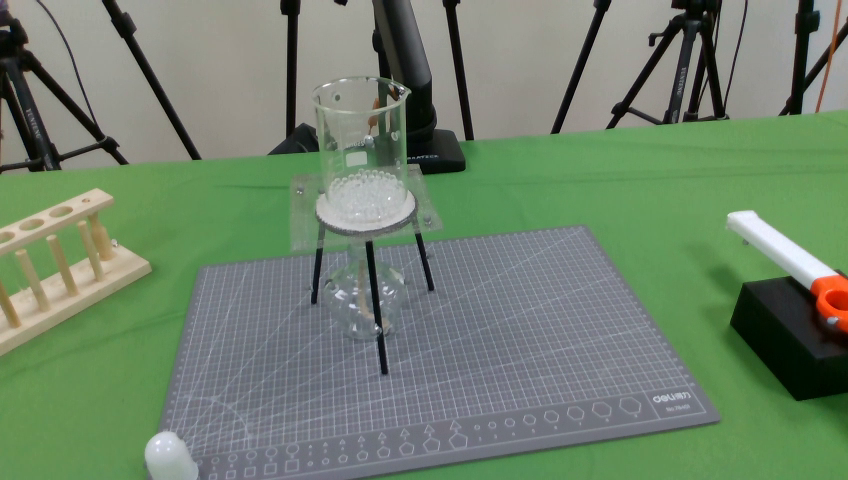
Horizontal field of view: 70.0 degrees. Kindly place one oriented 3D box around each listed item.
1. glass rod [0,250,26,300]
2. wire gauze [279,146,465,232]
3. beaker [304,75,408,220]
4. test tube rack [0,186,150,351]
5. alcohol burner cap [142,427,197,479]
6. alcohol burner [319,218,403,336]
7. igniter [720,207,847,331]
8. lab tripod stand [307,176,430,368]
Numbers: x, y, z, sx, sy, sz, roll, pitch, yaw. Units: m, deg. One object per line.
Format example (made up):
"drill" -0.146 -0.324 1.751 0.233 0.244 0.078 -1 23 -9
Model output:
"glass rod" -0.416 -0.027 0.565 0.008 0.201 0.008 -5 28 3
"wire gauze" -0.046 -0.044 0.507 0.125 0.011 0.120 -15 35 -27
"beaker" -0.050 -0.074 0.492 0.084 0.101 0.073 -19 40 -25
"test tube rack" -0.401 0.042 0.581 0.066 0.086 0.242 22 41 30
"alcohol burner cap" -0.188 0.157 0.443 0.034 0.048 0.033 1 36 -1
"alcohol burner" -0.059 0.031 0.560 0.078 0.120 0.077 1 34 0
"igniter" 0.355 0.042 0.532 0.057 0.025 0.273 -7 32 -8
"lab tripod stand" -0.050 0.021 0.556 0.148 0.132 0.147 1 36 0
